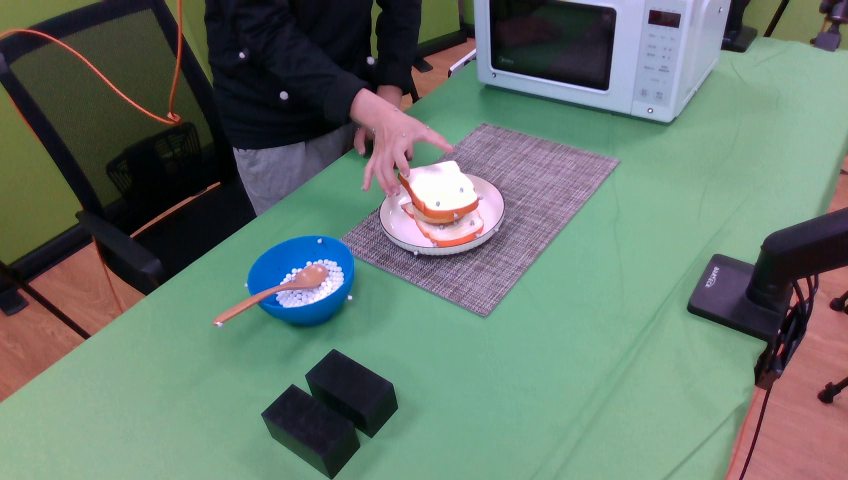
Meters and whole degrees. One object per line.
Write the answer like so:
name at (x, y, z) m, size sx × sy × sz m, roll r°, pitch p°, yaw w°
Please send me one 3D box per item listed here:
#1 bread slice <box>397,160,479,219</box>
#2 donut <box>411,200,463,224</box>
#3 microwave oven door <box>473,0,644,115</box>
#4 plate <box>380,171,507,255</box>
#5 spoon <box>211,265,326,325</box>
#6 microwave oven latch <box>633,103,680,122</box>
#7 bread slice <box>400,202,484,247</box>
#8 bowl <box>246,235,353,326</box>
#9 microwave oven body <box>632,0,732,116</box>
bread slice at (0.028, -0.081, 0.952) m, size 0.105 × 0.019 × 0.130 m, roll -14°, pitch 43°, yaw -18°
donut at (0.028, -0.064, 0.978) m, size 0.099 × 0.048 × 0.098 m, roll -4°, pitch 39°, yaw 4°
microwave oven door at (0.257, -0.396, 1.199) m, size 0.353 × 0.245 × 0.039 m, roll 21°, pitch 48°, yaw 29°
plate at (0.033, -0.042, 0.995) m, size 0.207 × 0.039 × 0.206 m, roll -4°, pitch 40°, yaw 4°
spoon at (-0.208, 0.072, 0.822) m, size 0.041 × 0.021 × 0.195 m, roll 26°, pitch 28°, yaw 27°
microwave oven latch at (0.443, -0.249, 1.157) m, size 0.078 × 0.029 × 0.030 m, roll 21°, pitch 48°, yaw 30°
bread slice at (0.037, -0.037, 0.990) m, size 0.107 × 0.018 × 0.133 m, roll -22°, pitch 42°, yaw -18°
bowl at (-0.170, 0.070, 0.868) m, size 0.151 × 0.077 × 0.150 m, roll -4°, pitch 41°, yaw 4°
microwave oven body at (0.377, -0.462, 1.267) m, size 0.438 × 0.261 × 0.327 m, roll 21°, pitch 48°, yaw 30°
